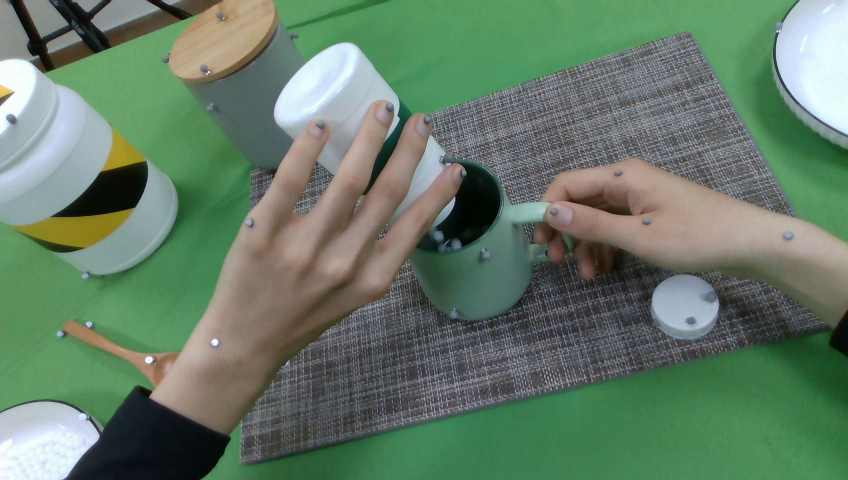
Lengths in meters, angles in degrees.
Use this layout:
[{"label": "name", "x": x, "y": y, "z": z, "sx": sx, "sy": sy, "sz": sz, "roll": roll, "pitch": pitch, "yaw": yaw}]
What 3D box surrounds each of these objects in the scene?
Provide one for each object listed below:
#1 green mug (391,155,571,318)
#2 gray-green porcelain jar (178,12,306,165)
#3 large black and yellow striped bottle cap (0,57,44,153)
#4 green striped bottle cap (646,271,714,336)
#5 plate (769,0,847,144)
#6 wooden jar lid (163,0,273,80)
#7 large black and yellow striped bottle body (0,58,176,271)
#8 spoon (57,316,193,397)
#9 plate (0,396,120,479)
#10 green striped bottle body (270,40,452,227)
[{"label": "green mug", "x": 0.044, "y": -0.003, "z": 0.447, "sx": 0.125, "sy": 0.106, "sz": 0.091, "roll": -8, "pitch": 58, "yaw": 14}, {"label": "gray-green porcelain jar", "x": -0.162, "y": -0.144, "z": 0.589, "sx": 0.105, "sy": 0.128, "sz": 0.105, "roll": -9, "pitch": 54, "yaw": 13}, {"label": "large black and yellow striped bottle cap", "x": -0.369, "y": -0.105, "z": 0.500, "sx": 0.115, "sy": 0.019, "sz": 0.114, "roll": -8, "pitch": 57, "yaw": 13}, {"label": "green striped bottle cap", "x": 0.181, "y": 0.044, "z": 0.429, "sx": 0.044, "sy": 0.020, "sz": 0.044, "roll": -9, "pitch": 53, "yaw": 12}, {"label": "plate", "x": 0.378, "y": -0.141, "z": 0.462, "sx": 0.207, "sy": 0.039, "sz": 0.205, "roll": -8, "pitch": 58, "yaw": 14}, {"label": "wooden jar lid", "x": -0.180, "y": -0.179, "z": 0.539, "sx": 0.108, "sy": 0.021, "sz": 0.107, "roll": -10, "pitch": 57, "yaw": 16}, {"label": "large black and yellow striped bottle body", "x": -0.344, "y": -0.065, "z": 0.570, "sx": 0.130, "sy": 0.186, "sz": 0.129, "roll": -8, "pitch": 59, "yaw": 14}, {"label": "spoon", "x": -0.276, "y": 0.096, "z": 0.549, "sx": 0.192, "sy": 0.022, "sz": 0.041, "roll": 14, "pitch": 85, "yaw": 25}, {"label": "plate", "x": -0.328, "y": 0.230, "z": 0.479, "sx": 0.209, "sy": 0.038, "sz": 0.207, "roll": -8, "pitch": 58, "yaw": 14}, {"label": "green striped bottle body", "x": -0.031, "y": -0.057, "z": 0.371, "sx": 0.063, "sy": 0.120, "sz": 0.062, "roll": -24, "pitch": 43, "yaw": 25}]
